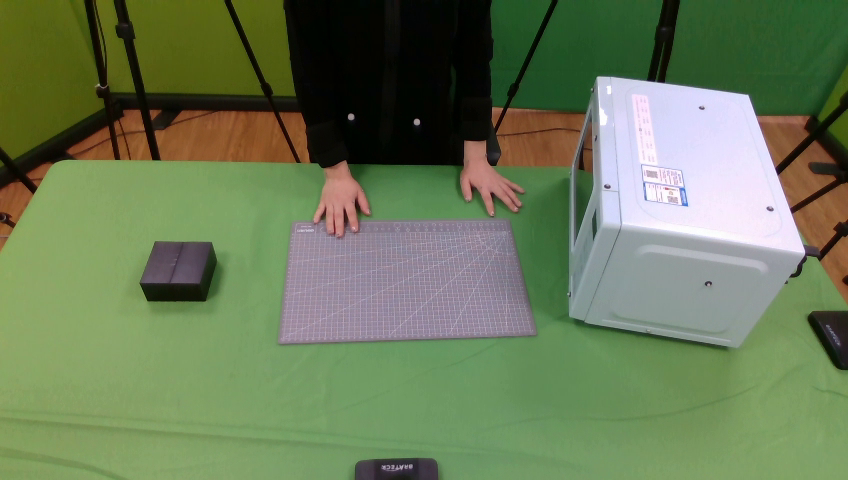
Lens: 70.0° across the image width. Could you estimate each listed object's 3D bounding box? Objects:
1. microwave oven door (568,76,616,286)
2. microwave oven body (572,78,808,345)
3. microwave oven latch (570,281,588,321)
[{"bbox_3d":[0.319,-0.119,1.161,0.039,0.245,0.354,9,46,5],"label":"microwave oven door"},{"bbox_3d":[0.456,-0.063,1.124,0.326,0.261,0.439,8,45,5],"label":"microwave oven body"},{"bbox_3d":[0.276,0.105,1.082,0.030,0.029,0.079,10,45,6],"label":"microwave oven latch"}]
